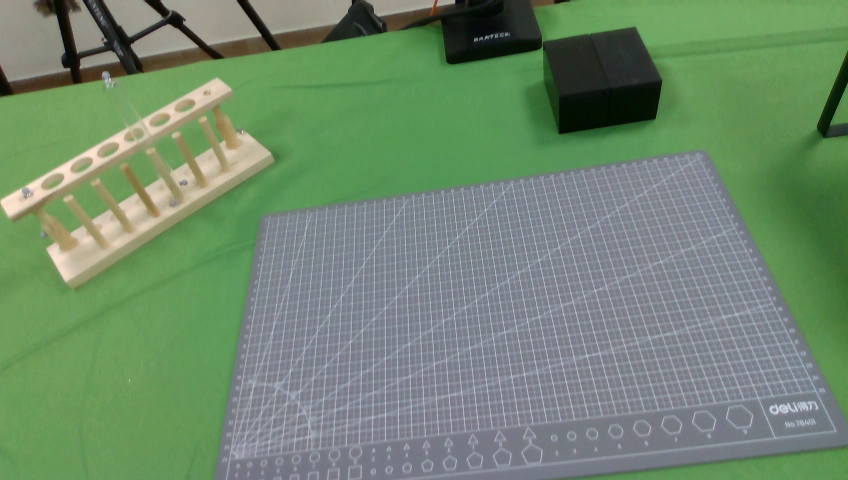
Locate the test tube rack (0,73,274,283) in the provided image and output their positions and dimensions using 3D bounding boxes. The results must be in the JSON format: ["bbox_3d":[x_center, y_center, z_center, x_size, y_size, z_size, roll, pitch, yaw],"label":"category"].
[{"bbox_3d":[-0.287,-0.068,0.629,0.242,0.086,0.066,-37,54,-19],"label":"test tube rack"}]

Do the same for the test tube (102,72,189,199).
[{"bbox_3d":[-0.268,-0.097,0.590,0.017,0.152,0.017,-5,49,6],"label":"test tube"}]
